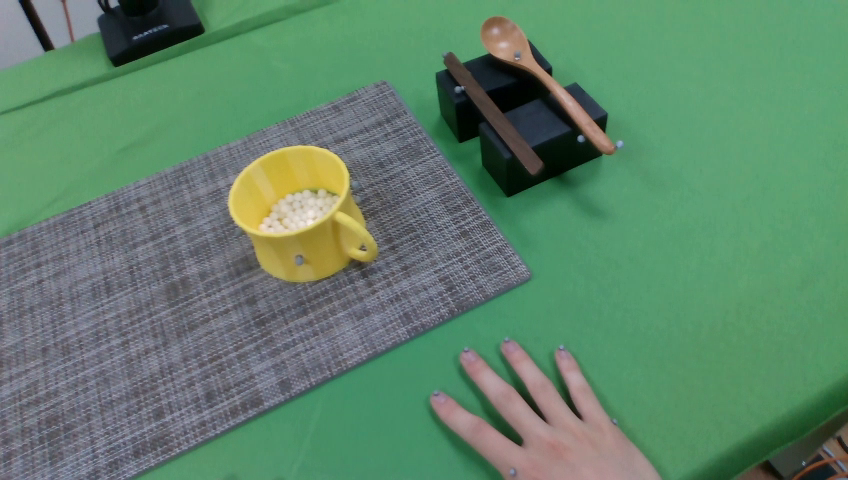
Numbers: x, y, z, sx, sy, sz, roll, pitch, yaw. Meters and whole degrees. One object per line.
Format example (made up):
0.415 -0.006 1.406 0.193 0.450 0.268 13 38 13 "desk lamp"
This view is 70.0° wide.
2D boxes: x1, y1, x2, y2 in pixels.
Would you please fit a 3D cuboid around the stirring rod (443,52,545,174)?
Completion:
0.057 -0.117 0.534 0.014 0.006 0.174 -47 51 21 "stirring rod"

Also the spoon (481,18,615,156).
0.108 -0.141 0.542 0.041 0.022 0.191 -25 56 -11 "spoon"

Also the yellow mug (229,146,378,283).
-0.092 -0.017 0.509 0.130 0.064 0.099 24 61 23 "yellow mug"
